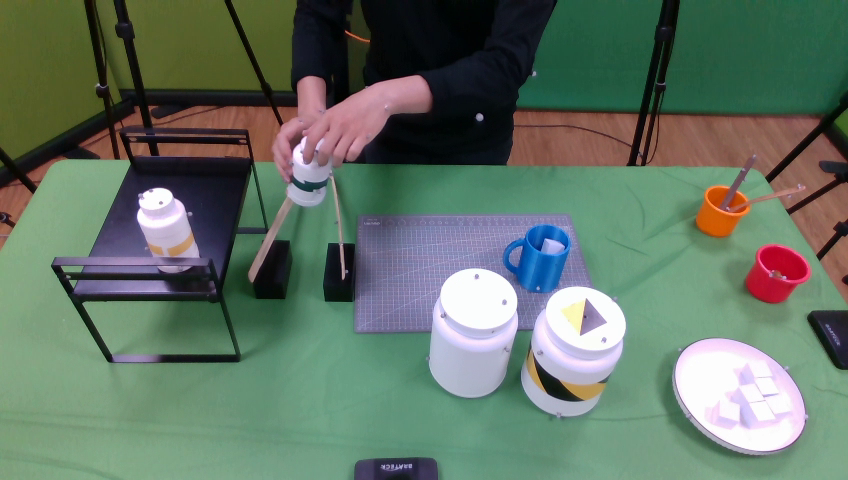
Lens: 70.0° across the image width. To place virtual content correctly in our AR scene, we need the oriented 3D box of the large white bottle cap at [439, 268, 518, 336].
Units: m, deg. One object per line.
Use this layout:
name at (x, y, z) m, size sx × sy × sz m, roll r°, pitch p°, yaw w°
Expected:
large white bottle cap at (0.080, 0.089, 0.888) m, size 0.115 × 0.018 × 0.114 m, roll 2°, pitch 47°, yaw -2°

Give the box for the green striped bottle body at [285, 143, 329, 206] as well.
green striped bottle body at (-0.190, -0.115, 0.986) m, size 0.063 × 0.119 × 0.063 m, roll 9°, pitch 53°, yaw -13°

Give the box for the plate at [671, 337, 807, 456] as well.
plate at (0.504, 0.254, 0.984) m, size 0.208 × 0.039 × 0.206 m, roll 2°, pitch 46°, yaw -2°

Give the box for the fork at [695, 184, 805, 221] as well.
fork at (0.657, -0.075, 1.230) m, size 0.207 × 0.019 × 0.028 m, roll -23°, pitch 35°, yaw 37°

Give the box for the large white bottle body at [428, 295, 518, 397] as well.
large white bottle body at (0.075, 0.147, 0.950) m, size 0.131 × 0.185 × 0.130 m, roll 2°, pitch 46°, yaw -2°

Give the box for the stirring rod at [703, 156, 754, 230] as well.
stirring rod at (0.631, -0.097, 1.258) m, size 0.014 × 0.006 × 0.176 m, roll 33°, pitch 95°, yaw 29°

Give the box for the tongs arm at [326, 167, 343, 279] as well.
tongs arm at (-0.188, -0.049, 1.170) m, size 0.051 × 0.026 × 0.382 m, roll -5°, pitch 35°, yaw -6°

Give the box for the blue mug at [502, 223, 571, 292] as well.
blue mug at (0.203, 0.031, 1.121) m, size 0.116 × 0.106 × 0.082 m, roll 5°, pitch 47°, yaw 1°

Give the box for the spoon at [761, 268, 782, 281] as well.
spoon at (0.638, 0.060, 1.105) m, size 0.041 × 0.021 × 0.194 m, roll 38°, pitch 11°, yaw 24°

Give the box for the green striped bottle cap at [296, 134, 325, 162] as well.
green striped bottle cap at (-0.177, -0.145, 0.945) m, size 0.044 × 0.020 × 0.044 m, roll 10°, pitch 53°, yaw -13°

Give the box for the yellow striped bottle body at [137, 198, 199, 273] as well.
yellow striped bottle body at (-0.366, -0.014, 0.864) m, size 0.063 × 0.121 × 0.062 m, roll 2°, pitch 46°, yaw -2°

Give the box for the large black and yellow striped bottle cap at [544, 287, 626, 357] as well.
large black and yellow striped bottle cap at (0.232, 0.116, 0.876) m, size 0.115 × 0.019 × 0.114 m, roll 1°, pitch 45°, yaw -1°

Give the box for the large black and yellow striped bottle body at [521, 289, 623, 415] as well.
large black and yellow striped bottle body at (0.228, 0.173, 0.937) m, size 0.131 × 0.185 × 0.130 m, roll 2°, pitch 47°, yaw -2°

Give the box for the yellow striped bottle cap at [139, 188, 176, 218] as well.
yellow striped bottle cap at (-0.363, -0.051, 0.826) m, size 0.044 × 0.019 × 0.044 m, roll 1°, pitch 47°, yaw -1°

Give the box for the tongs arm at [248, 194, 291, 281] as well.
tongs arm at (-0.270, -0.048, 1.165) m, size 0.028 × 0.028 × 0.385 m, roll 0°, pitch 34°, yaw 7°
